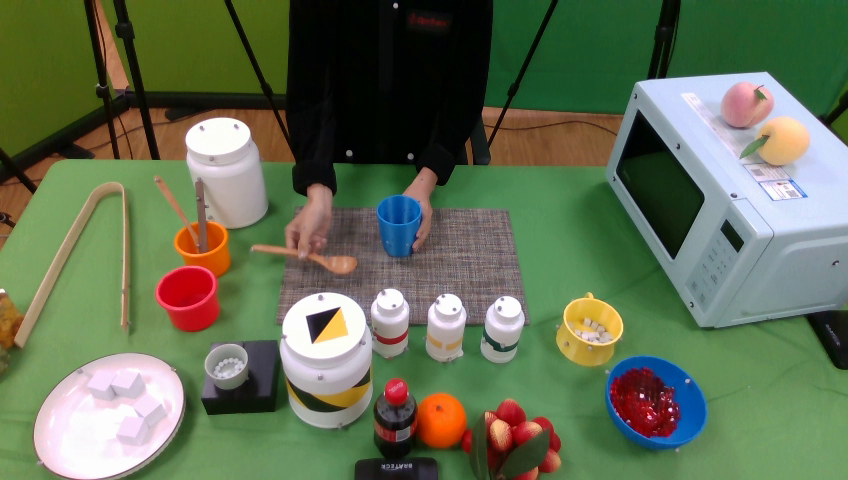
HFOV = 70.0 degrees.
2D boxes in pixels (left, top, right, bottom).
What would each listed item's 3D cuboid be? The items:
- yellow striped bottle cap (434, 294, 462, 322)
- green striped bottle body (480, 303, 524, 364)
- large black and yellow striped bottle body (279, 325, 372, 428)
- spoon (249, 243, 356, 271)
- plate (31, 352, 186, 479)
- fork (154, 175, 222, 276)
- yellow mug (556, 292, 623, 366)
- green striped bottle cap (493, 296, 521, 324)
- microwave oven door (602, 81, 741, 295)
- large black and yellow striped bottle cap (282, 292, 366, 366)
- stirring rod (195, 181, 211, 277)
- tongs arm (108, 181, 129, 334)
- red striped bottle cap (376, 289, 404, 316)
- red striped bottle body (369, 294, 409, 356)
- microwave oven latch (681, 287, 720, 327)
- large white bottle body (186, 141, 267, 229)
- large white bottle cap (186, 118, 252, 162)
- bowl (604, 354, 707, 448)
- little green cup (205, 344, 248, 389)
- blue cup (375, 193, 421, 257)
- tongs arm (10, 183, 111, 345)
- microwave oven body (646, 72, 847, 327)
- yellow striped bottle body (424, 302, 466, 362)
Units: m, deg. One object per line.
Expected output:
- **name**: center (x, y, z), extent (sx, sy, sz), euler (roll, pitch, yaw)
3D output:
- **yellow striped bottle cap**: center (0.038, 0.107, 0.958), extent (0.044, 0.019, 0.044), euler (2, 45, -2)
- **green striped bottle body**: center (0.129, 0.147, 1.000), extent (0.063, 0.120, 0.063), euler (2, 46, -2)
- **large black and yellow striped bottle body**: center (-0.143, 0.181, 0.900), extent (0.131, 0.185, 0.130), euler (2, 46, -2)
- **spoon**: center (-0.219, 0.025, 1.088), extent (0.194, 0.022, 0.041), euler (14, 46, -2)
- **plate**: center (-0.459, 0.262, 0.898), extent (0.209, 0.038, 0.208), euler (2, 46, -2)
- **fork**: center (-0.431, -0.027, 1.101), extent (0.028, 0.018, 0.207), euler (-33, 100, -25)
- **yellow mug**: center (0.285, 0.145, 1.051), extent (0.100, 0.064, 0.130), euler (7, 46, 3)
- **green striped bottle cap**: center (0.133, 0.111, 0.962), extent (0.044, 0.020, 0.044), euler (2, 47, -2)
- **microwave oven door**: center (0.456, -0.107, 1.162), extent (0.039, 0.245, 0.353), euler (-7, 47, -11)
- **large black and yellow striped bottle cap**: center (-0.138, 0.121, 0.841), extent (0.115, 0.019, 0.114), euler (3, 47, -3)
- **stirring rod**: center (-0.403, -0.020, 1.104), extent (0.014, 0.006, 0.176), euler (-6, 89, -8)
- **tongs arm**: center (-0.571, 0.019, 1.123), extent (0.051, 0.026, 0.382), euler (-11, 47, -12)
- **red striped bottle cap**: center (-0.054, 0.098, 0.958), extent (0.044, 0.018, 0.044), euler (0, 48, 1)
- **red striped bottle body**: center (-0.059, 0.134, 0.997), extent (0.063, 0.120, 0.062), euler (5, 48, -5)
- **microwave oven latch**: center (0.494, 0.119, 1.087), extent (0.030, 0.029, 0.078), euler (-5, 46, -9)
- **large white bottle body**: center (-0.383, -0.127, 1.175), extent (0.131, 0.185, 0.130), euler (2, 47, -2)
- **large white bottle cap**: center (-0.377, -0.185, 1.115), extent (0.115, 0.018, 0.114), euler (2, 46, -2)
- **bowl**: center (0.346, 0.261, 0.937), extent (0.151, 0.077, 0.150), euler (2, 46, -2)
- **little green cup**: center (-0.294, 0.191, 0.909), extent (0.061, 0.039, 0.061), euler (1, 47, -1)
- **blue cup**: center (-0.050, -0.022, 1.155), extent (0.093, 0.101, 0.092), euler (1, 47, -1)
- **tongs arm**: center (-0.658, 0.027, 1.109), extent (0.028, 0.028, 0.385), euler (-2, 45, 2)
- **microwave oven body**: center (0.607, -0.089, 1.164), extent (0.326, 0.261, 0.438), euler (-7, 46, -10)
- **yellow striped bottle body**: center (0.035, 0.143, 0.995), extent (0.063, 0.121, 0.062), euler (3, 46, -3)
